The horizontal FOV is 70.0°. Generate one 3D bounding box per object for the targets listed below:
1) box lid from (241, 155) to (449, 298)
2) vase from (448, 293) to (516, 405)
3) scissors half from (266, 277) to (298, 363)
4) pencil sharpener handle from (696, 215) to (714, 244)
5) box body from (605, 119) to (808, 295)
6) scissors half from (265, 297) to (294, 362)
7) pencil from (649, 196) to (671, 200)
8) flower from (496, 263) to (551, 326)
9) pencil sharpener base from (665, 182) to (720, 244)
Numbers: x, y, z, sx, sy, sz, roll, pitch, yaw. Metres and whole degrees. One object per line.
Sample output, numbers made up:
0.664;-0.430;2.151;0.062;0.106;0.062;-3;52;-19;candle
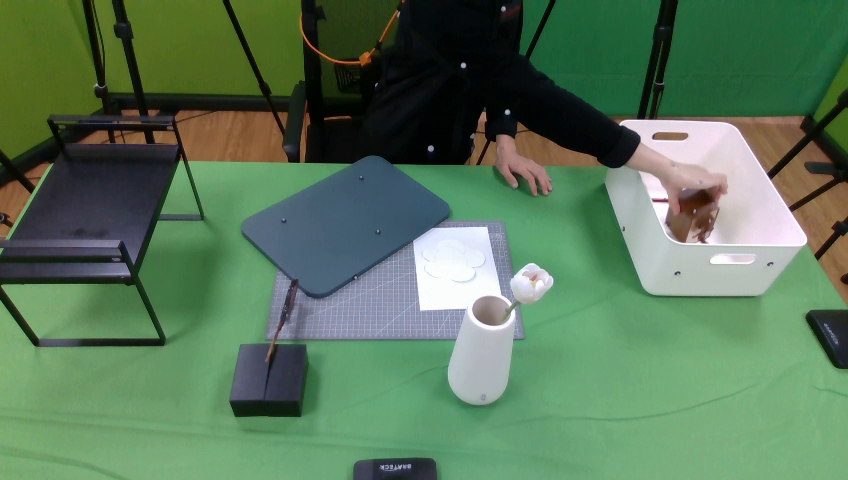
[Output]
-0.157;-0.043;1.234;0.371;0.015;0.262;-34;56;-31;box lid
0.091;0.169;0.921;0.098;0.201;0.097;3;47;-3;vase
-0.234;0.127;0.993;0.013;0.040;0.174;13;46;-5;scissors half
0.536;-0.015;1.147;0.036;0.068;0.030;-19;55;-6;pencil sharpener handle
0.529;-0.068;1.205;0.254;0.161;0.361;1;46;-4;box body
-0.240;0.143;1.005;0.013;0.040;0.174;18;27;-7;scissors half
0.513;-0.092;1.323;0.194;0.012;0.012;4;46;2;pencil
0.102;0.121;0.853;0.044;0.363;0.038;-1;64;-10;flower
0.523;-0.047;1.186;0.061;0.107;0.076;-21;56;-2;pencil sharpener base
